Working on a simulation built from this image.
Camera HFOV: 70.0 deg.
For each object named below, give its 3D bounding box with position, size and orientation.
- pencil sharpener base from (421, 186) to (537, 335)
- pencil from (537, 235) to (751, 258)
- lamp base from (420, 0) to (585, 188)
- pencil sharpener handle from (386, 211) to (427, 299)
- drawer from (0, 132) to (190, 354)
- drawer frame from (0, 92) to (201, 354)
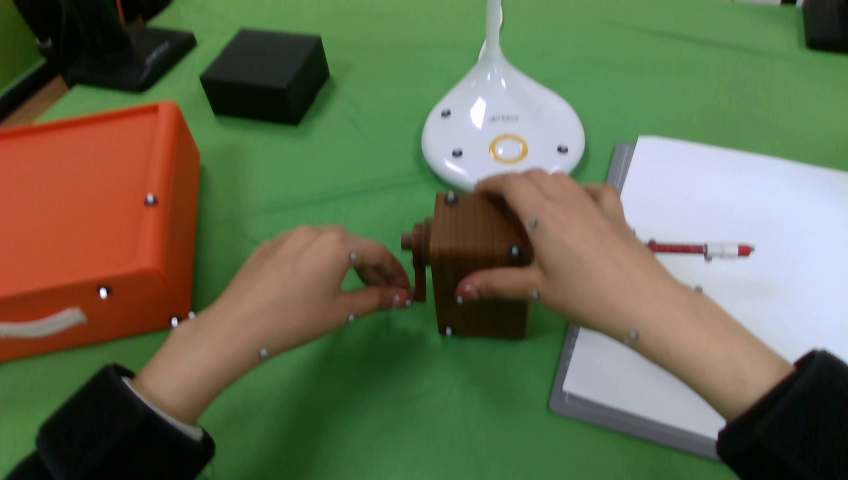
[{"bbox_3d":[0.040,0.017,0.440,0.076,0.108,0.061,1,50,6],"label":"pencil sharpener base"},{"bbox_3d":[0.120,0.003,0.412,0.194,0.012,0.012,3,50,5],"label":"pencil"},{"bbox_3d":[0.069,-0.166,0.546,0.161,0.182,0.177,-11,47,-5],"label":"lamp base"},{"bbox_3d":[-0.013,0.012,0.431,0.030,0.068,0.036,1,26,6],"label":"pencil sharpener handle"},{"bbox_3d":[-0.301,-0.015,0.513,0.195,0.074,0.209,-11,49,-4],"label":"drawer"},{"bbox_3d":[-0.303,-0.018,0.513,0.202,0.083,0.211,-12,49,-5],"label":"drawer frame"}]
